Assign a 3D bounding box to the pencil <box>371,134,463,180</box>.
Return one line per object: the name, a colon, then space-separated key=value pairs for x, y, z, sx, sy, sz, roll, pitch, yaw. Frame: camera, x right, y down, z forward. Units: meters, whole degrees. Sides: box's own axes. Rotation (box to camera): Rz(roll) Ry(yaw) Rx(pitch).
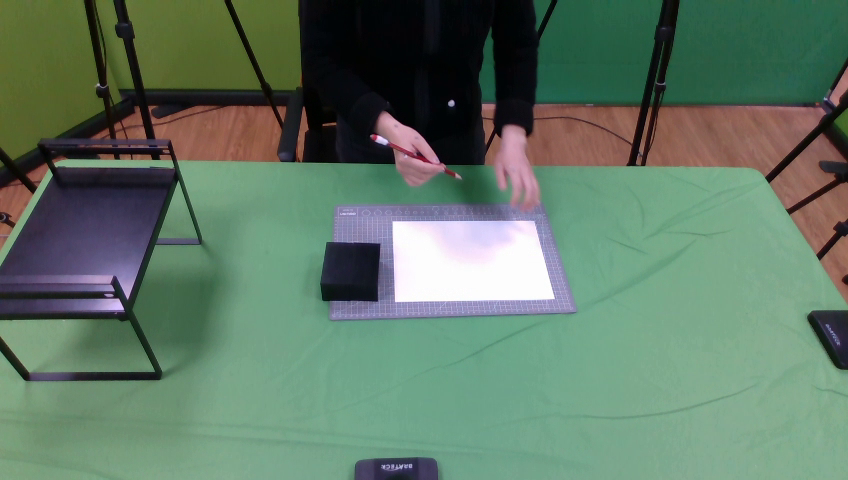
pencil: x=-0.009 y=-0.149 z=1.106 sx=0.195 sy=0.012 sz=0.012 roll=23 pitch=42 yaw=-22
